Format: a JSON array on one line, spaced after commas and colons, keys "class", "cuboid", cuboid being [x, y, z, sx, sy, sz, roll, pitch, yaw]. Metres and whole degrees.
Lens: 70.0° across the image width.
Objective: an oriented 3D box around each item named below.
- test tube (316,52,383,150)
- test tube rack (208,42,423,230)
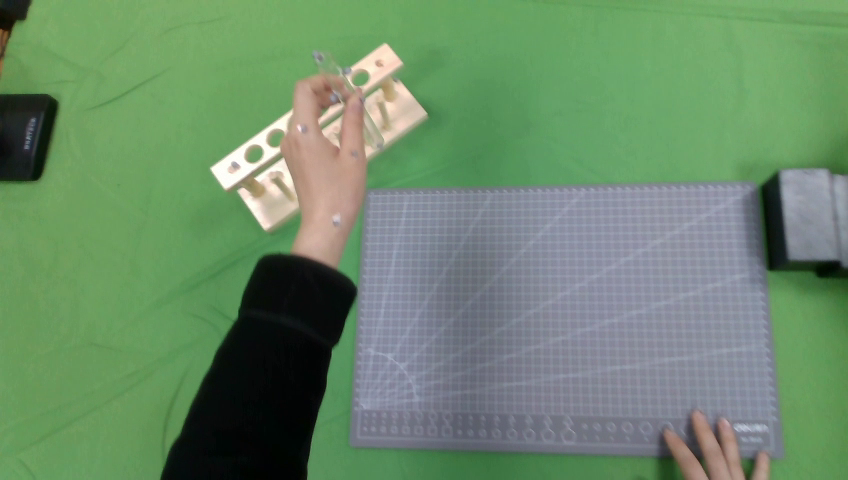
[{"class": "test tube", "cuboid": [-0.061, -0.115, 0.528, 0.017, 0.151, 0.017, -3, 73, 10]}, {"class": "test tube rack", "cuboid": [-0.121, -0.118, 0.713, 0.242, 0.086, 0.066, -37, 74, -4]}]
